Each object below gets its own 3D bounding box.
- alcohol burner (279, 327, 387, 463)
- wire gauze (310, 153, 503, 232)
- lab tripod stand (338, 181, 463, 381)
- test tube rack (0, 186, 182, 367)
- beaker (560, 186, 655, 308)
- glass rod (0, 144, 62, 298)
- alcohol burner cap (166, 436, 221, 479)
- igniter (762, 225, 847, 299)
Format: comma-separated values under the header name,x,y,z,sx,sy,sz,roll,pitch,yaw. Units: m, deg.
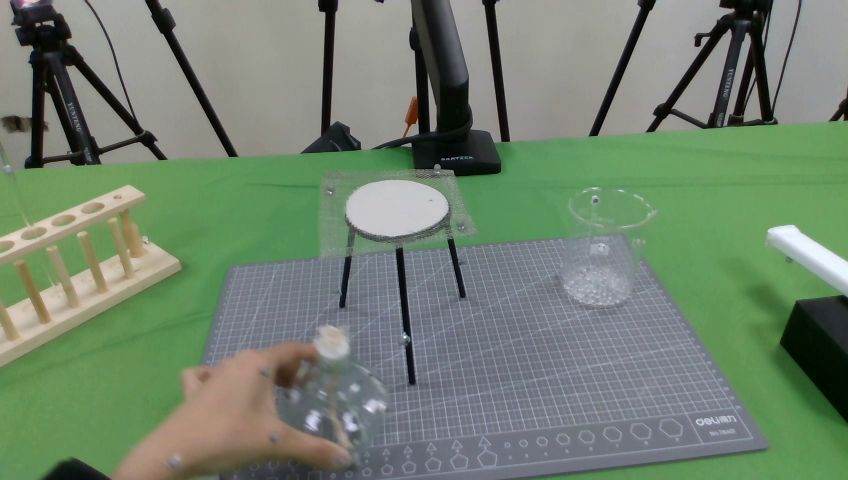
name,x,y,z,sx,sy,sz,roll,pitch,yaw
alcohol burner,-0.064,0.105,0.432,0.078,0.120,0.077,5,38,-4
wire gauze,-0.017,-0.039,0.487,0.125,0.011,0.120,-11,31,-26
lab tripod stand,-0.019,0.028,0.538,0.148,0.132,0.147,0,36,0
test tube rack,-0.369,0.041,0.583,0.066,0.086,0.242,25,42,33
beaker,0.173,0.009,0.587,0.084,0.101,0.073,0,35,2
glass rod,-0.366,-0.022,0.555,0.008,0.201,0.008,3,37,-1
alcohol burner cap,-0.167,0.160,0.432,0.034,0.048,0.033,0,35,0
igniter,0.382,0.060,0.489,0.057,0.025,0.273,-9,31,-11
